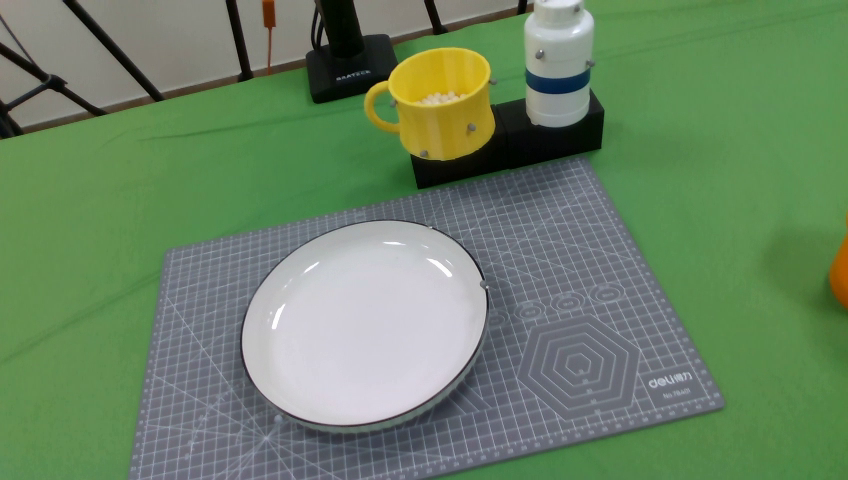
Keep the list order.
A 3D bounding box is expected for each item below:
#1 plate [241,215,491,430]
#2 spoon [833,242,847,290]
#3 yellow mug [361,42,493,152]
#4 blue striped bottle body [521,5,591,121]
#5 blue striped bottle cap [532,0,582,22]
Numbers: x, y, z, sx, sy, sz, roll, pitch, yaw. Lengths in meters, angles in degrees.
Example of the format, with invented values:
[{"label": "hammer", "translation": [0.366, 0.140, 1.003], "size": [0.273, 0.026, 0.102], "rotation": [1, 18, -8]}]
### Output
[{"label": "plate", "translation": [-0.046, 0.066, 0.510], "size": [0.207, 0.039, 0.205], "rotation": [-5, 48, 6]}, {"label": "spoon", "translation": [0.382, -0.032, 0.435], "size": [0.194, 0.022, 0.041], "rotation": [-47, 40, 23]}, {"label": "yellow mug", "translation": [0.001, -0.141, 0.603], "size": [0.130, 0.064, 0.099], "rotation": [-3, 47, 10]}, {"label": "blue striped bottle body", "translation": [0.124, -0.179, 0.574], "size": [0.063, 0.122, 0.062], "rotation": [-6, 48, 7]}, {"label": "blue striped bottle cap", "translation": [0.117, -0.213, 0.536], "size": [0.044, 0.021, 0.044], "rotation": [-7, 48, 8]}]
